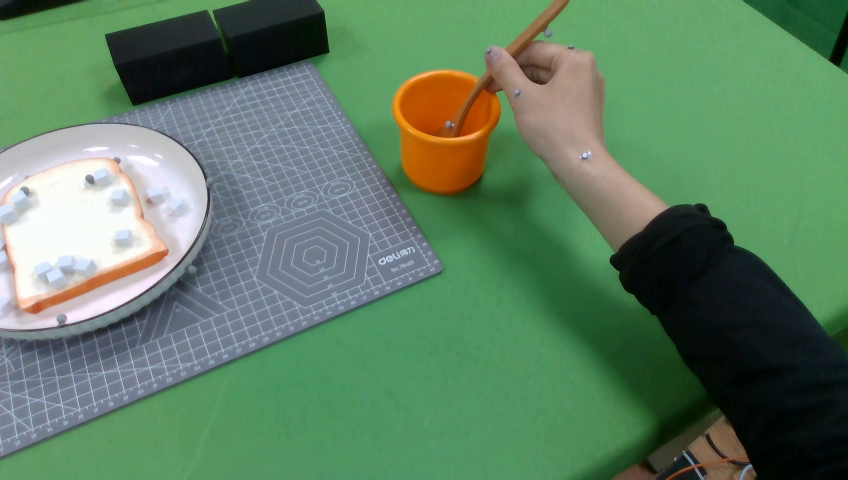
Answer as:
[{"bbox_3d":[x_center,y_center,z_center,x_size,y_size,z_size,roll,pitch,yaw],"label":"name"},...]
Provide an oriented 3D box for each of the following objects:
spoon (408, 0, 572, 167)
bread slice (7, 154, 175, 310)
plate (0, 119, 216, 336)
[{"bbox_3d":[0.051,-0.129,0.506,0.022,0.194,0.041,21,38,-32],"label":"spoon"},{"bbox_3d":[-0.276,-0.014,0.488,0.107,0.018,0.133,-29,61,-20],"label":"bread slice"},{"bbox_3d":[-0.271,-0.013,0.484,0.209,0.038,0.207,1,55,-1],"label":"plate"}]
